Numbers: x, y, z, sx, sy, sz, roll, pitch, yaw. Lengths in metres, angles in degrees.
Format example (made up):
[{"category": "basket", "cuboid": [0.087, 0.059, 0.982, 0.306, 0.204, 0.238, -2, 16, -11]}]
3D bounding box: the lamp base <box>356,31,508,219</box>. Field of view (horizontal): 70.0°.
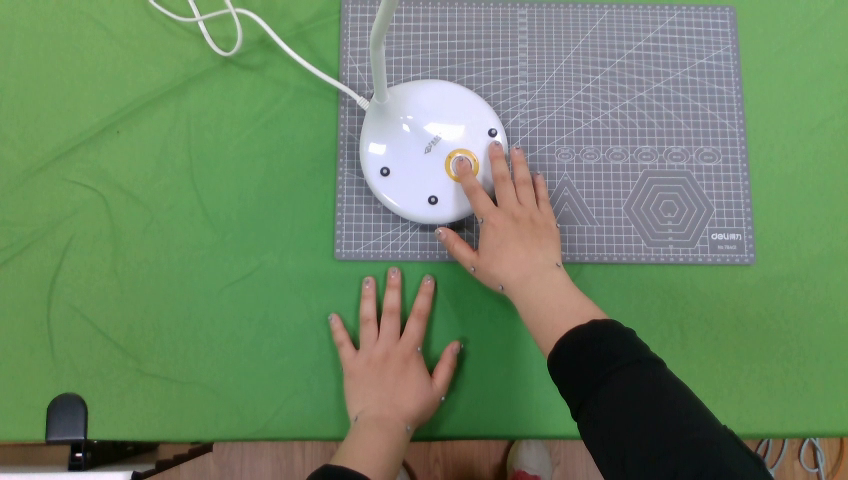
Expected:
[{"category": "lamp base", "cuboid": [-0.002, -0.119, 0.574, 0.179, 0.181, 0.160, 27, 82, 7]}]
